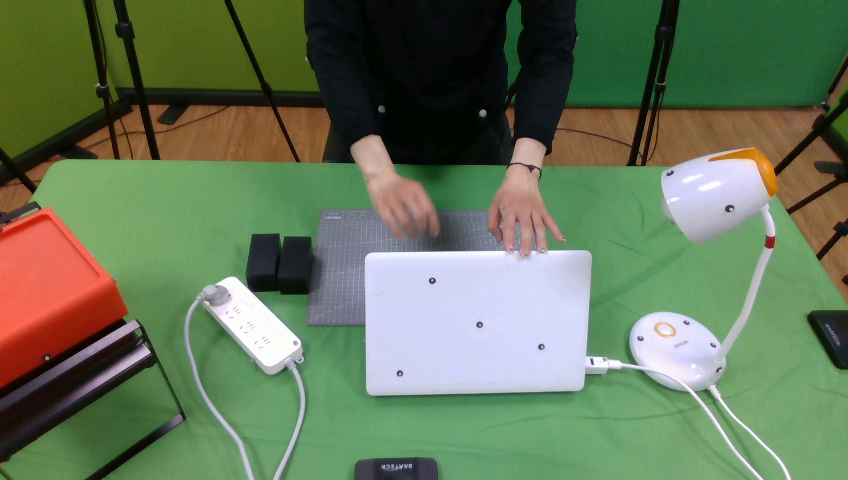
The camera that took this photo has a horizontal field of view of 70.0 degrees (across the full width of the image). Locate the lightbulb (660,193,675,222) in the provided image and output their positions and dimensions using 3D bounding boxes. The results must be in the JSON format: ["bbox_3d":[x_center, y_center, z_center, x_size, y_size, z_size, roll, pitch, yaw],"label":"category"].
[{"bbox_3d":[0.369,-0.060,0.808,0.060,0.107,0.059,20,58,-35],"label":"lightbulb"}]

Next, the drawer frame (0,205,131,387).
[{"bbox_3d":[-0.539,0.075,0.795,0.200,0.083,0.213,36,54,26],"label":"drawer frame"}]

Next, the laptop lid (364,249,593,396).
[{"bbox_3d":[0.084,0.129,0.940,0.357,0.242,0.013,1,12,-5],"label":"laptop lid"}]

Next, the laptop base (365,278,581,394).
[{"bbox_3d":[0.077,0.162,1.053,0.355,0.023,0.234,0,44,-4],"label":"laptop base"}]

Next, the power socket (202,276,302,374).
[{"bbox_3d":[-0.297,0.142,1.034,0.072,0.033,0.225,-34,58,-31],"label":"power socket"}]

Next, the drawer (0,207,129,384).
[{"bbox_3d":[-0.539,0.074,0.798,0.193,0.073,0.211,37,55,27],"label":"drawer"}]

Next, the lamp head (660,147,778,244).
[{"bbox_3d":[0.389,-0.063,0.785,0.123,0.113,0.112,-22,33,37],"label":"lamp head"}]

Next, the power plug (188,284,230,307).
[{"bbox_3d":[-0.368,0.100,1.036,0.072,0.053,0.035,-26,53,-24],"label":"power plug"}]

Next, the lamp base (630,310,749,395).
[{"bbox_3d":[0.447,0.142,0.984,0.161,0.181,0.178,-24,55,-24],"label":"lamp base"}]

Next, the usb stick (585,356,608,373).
[{"bbox_3d":[0.273,0.207,1.008,0.059,0.027,0.021,-1,52,1],"label":"usb stick"}]

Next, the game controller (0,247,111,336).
[{"bbox_3d":[-0.511,0.063,0.830,0.097,0.052,0.154,-29,57,-33],"label":"game controller"}]
